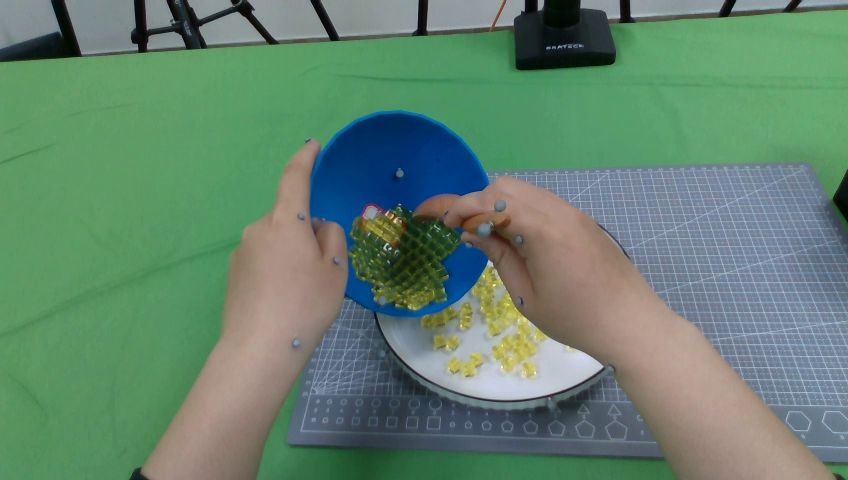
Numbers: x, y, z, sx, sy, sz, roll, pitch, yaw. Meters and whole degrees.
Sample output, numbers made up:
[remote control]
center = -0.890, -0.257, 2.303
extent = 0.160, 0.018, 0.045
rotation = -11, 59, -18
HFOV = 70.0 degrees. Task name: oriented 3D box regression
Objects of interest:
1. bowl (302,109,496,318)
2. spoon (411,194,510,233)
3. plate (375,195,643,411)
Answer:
[bowl]
center = -0.028, -0.016, 0.465
extent = 0.151, 0.152, 0.076
rotation = -38, 12, -25
[spoon]
center = 0.023, -0.015, 0.379
extent = 0.042, 0.022, 0.193
rotation = -14, 10, -8
[plate]
center = 0.066, 0.047, 0.488
extent = 0.207, 0.039, 0.205
rotation = -4, 47, 4
